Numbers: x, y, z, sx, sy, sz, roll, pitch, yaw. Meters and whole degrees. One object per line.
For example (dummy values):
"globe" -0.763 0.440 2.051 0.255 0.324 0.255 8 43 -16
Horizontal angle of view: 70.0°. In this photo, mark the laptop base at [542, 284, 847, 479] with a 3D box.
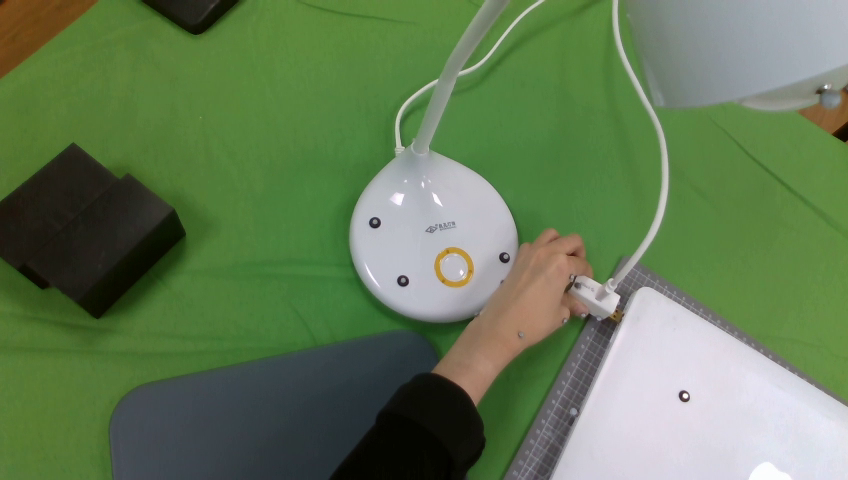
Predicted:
"laptop base" 0.291 0.221 0.535 0.354 0.023 0.234 31 70 1

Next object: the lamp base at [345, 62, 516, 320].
"lamp base" 0.015 -0.043 0.492 0.161 0.181 0.178 -25 73 -19

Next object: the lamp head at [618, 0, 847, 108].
"lamp head" 0.111 -0.123 0.213 0.112 0.112 0.123 -35 102 -21

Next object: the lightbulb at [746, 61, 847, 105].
"lightbulb" 0.135 -0.102 0.211 0.060 0.059 0.108 -6 109 -13

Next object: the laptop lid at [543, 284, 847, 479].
"laptop lid" 0.291 0.219 0.523 0.356 0.013 0.241 33 69 2

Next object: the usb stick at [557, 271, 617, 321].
"usb stick" 0.156 0.054 0.561 0.059 0.027 0.021 30 61 -3

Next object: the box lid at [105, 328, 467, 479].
"box lid" -0.079 0.259 0.449 0.264 0.015 0.369 -10 73 -15
